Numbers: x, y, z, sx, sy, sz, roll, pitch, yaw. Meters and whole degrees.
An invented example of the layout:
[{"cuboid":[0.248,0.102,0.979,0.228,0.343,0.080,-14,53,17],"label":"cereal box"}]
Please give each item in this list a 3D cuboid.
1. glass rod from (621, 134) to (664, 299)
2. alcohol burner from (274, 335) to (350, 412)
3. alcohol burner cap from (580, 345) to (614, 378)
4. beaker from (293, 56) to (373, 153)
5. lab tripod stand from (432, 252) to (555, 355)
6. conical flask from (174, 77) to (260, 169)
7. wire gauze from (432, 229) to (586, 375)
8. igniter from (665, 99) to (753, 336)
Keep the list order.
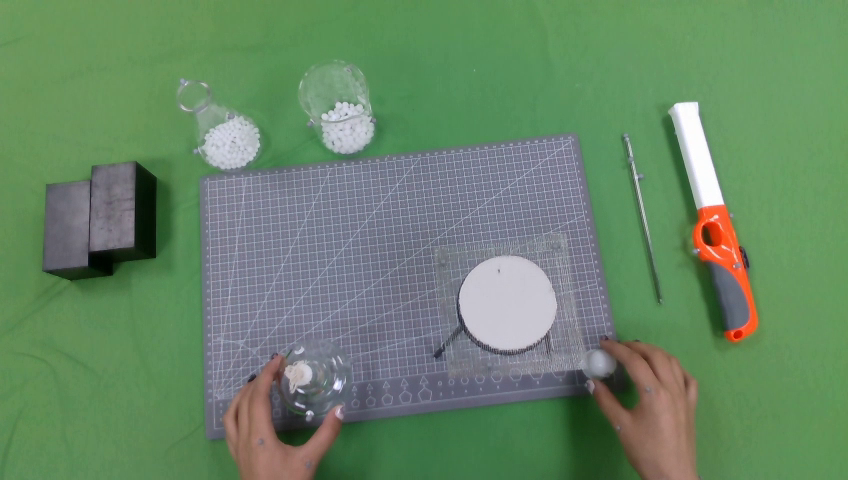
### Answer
[{"cuboid":[0.248,-0.031,0.692,0.008,0.008,0.198,-8,75,-1],"label":"glass rod"},{"cuboid":[-0.115,0.133,0.604,0.078,0.119,0.077,0,77,1],"label":"alcohol burner"},{"cuboid":[0.184,0.126,0.637,0.034,0.048,0.033,-1,72,5],"label":"alcohol burner cap"},{"cuboid":[-0.095,-0.147,0.683,0.084,0.101,0.074,28,79,8],"label":"beaker"},{"cuboid":[0.072,0.073,0.604,0.148,0.132,0.147,0,78,2],"label":"lab tripod stand"},{"cuboid":[-0.233,-0.133,0.671,0.075,0.122,0.075,0,76,1],"label":"conical flask"},{"cuboid":[0.074,0.055,0.539,0.125,0.011,0.121,-6,77,1],"label":"wire gauze"},{"cuboid":[0.319,-0.030,0.681,0.057,0.025,0.275,-6,76,-11],"label":"igniter"}]
